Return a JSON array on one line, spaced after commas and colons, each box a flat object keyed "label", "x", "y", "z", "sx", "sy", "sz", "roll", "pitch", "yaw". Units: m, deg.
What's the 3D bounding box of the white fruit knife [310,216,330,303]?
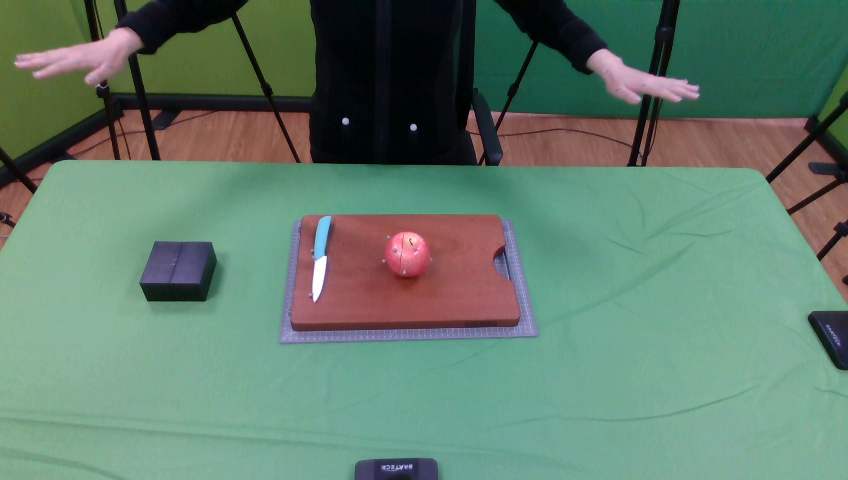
[{"label": "white fruit knife", "x": -0.194, "y": 0.032, "z": 1.116, "sx": 0.027, "sy": 0.016, "sz": 0.206, "roll": -8, "pitch": 47, "yaw": 6}]

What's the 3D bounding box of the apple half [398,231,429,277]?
[{"label": "apple half", "x": -0.018, "y": 0.028, "z": 1.095, "sx": 0.053, "sy": 0.075, "sz": 0.080, "roll": 6, "pitch": 42, "yaw": -4}]

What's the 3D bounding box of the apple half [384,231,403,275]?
[{"label": "apple half", "x": -0.056, "y": 0.025, "z": 1.093, "sx": 0.033, "sy": 0.081, "sz": 0.081, "roll": 5, "pitch": 46, "yaw": -2}]
